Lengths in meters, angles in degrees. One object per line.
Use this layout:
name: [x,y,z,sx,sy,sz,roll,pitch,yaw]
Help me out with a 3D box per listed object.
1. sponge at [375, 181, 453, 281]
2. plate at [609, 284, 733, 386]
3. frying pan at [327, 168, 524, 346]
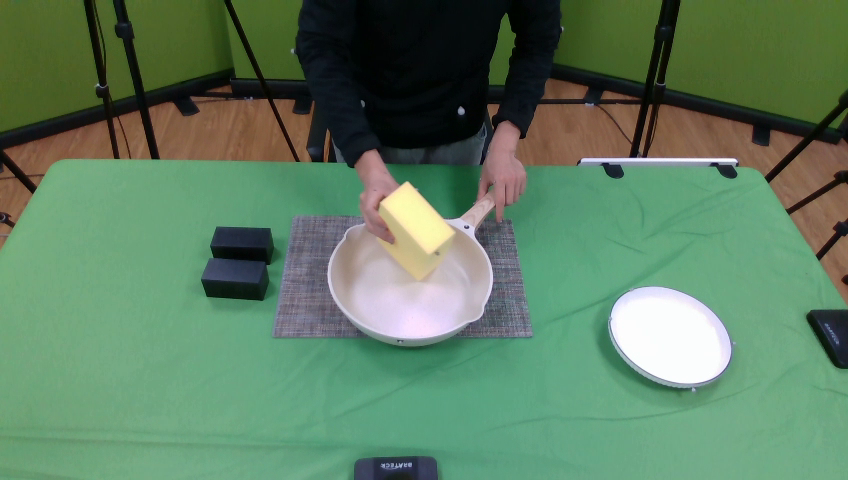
sponge: [-0.024,-0.007,1.056,0.061,0.207,0.118,-41,82,-15]
plate: [0.425,0.167,1.059,0.208,0.039,0.206,2,46,-2]
frying pan: [0.042,0.009,1.132,0.305,0.103,0.487,34,61,24]
